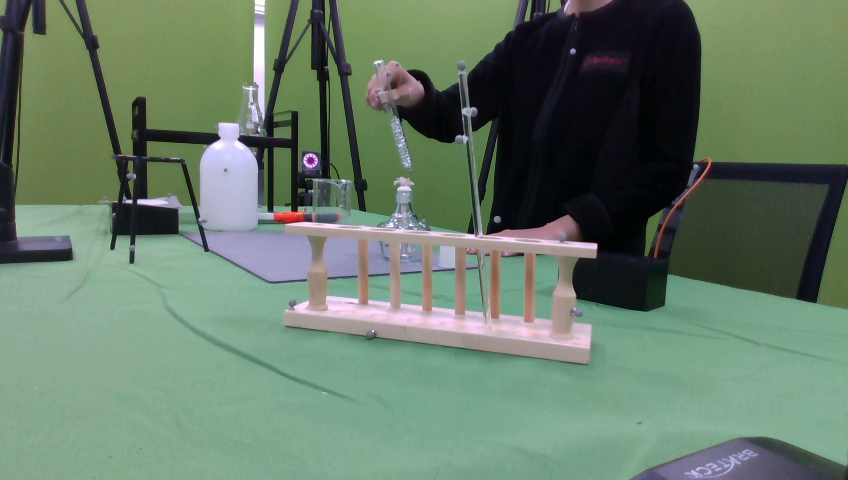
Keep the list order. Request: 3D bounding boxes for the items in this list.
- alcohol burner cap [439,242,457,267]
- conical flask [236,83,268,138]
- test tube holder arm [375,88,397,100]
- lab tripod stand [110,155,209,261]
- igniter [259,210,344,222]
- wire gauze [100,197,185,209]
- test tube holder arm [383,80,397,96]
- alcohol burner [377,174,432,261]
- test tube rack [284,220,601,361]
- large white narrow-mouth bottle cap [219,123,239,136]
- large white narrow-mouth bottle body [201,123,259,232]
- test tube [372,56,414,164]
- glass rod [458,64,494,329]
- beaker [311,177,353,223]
[{"bbox_3d":[0.037,0.011,0.807,0.034,0.048,0.034,4,8,0],"label":"alcohol burner cap"},{"bbox_3d":[-0.400,-0.298,1.396,0.075,0.122,0.075,2,8,0],"label":"conical flask"},{"bbox_3d":[-0.054,-0.217,0.885,0.013,0.015,0.178,-36,11,10],"label":"test tube holder arm"},{"bbox_3d":[-0.361,-0.046,0.806,0.148,0.131,0.148,2,5,0],"label":"lab tripod stand"},{"bbox_3d":[-0.303,-0.049,1.258,0.278,0.025,0.057,-2,-2,-28],"label":"igniter"},{"bbox_3d":[-0.469,-0.062,1.008,0.126,0.011,0.121,-2,8,-25],"label":"wire gauze"},{"bbox_3d":[-0.048,-0.211,0.841,0.010,0.015,0.087,-39,11,0],"label":"test tube holder arm"},{"bbox_3d":[-0.027,-0.031,0.838,0.078,0.119,0.078,0,6,0],"label":"alcohol burner"},{"bbox_3d":[0.013,0.032,0.482,0.242,0.085,0.067,4,7,16],"label":"test tube rack"},{"bbox_3d":[-0.356,-0.201,1.105,0.038,0.024,0.037,2,8,0],"label":"large white narrow-mouth bottle cap"},{"bbox_3d":[-0.358,-0.116,1.116,0.102,0.194,0.102,2,8,0],"label":"large white narrow-mouth bottle body"},{"bbox_3d":[-0.042,-0.176,0.827,0.017,0.150,0.017,-17,11,4],"label":"test tube"},{"bbox_3d":[0.039,-0.029,0.449,0.008,0.199,0.008,-7,9,1],"label":"glass rod"},{"bbox_3d":[-0.167,-0.064,1.106,0.074,0.100,0.083,-2,9,-27],"label":"beaker"}]
